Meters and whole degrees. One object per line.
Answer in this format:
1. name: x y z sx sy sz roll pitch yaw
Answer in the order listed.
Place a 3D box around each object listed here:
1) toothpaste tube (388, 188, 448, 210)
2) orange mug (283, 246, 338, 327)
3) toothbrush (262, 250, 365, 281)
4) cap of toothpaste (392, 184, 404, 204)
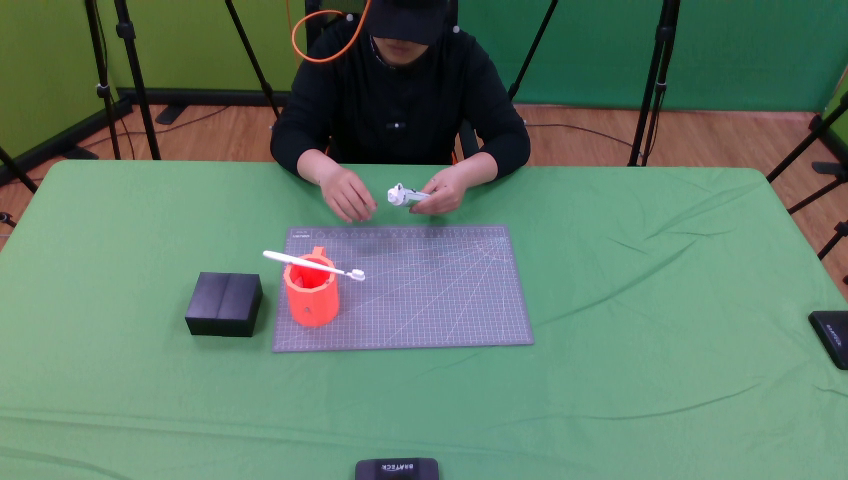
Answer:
1. toothpaste tube: -0.016 -0.080 1.180 0.055 0.166 0.034 -20 76 30
2. orange mug: -0.192 0.074 1.056 0.083 0.101 0.125 5 50 1
3. toothbrush: -0.186 0.041 1.015 0.182 0.017 0.014 13 55 8
4. cap of toothpaste: -0.048 -0.083 1.095 0.011 0.037 0.037 7 45 20
